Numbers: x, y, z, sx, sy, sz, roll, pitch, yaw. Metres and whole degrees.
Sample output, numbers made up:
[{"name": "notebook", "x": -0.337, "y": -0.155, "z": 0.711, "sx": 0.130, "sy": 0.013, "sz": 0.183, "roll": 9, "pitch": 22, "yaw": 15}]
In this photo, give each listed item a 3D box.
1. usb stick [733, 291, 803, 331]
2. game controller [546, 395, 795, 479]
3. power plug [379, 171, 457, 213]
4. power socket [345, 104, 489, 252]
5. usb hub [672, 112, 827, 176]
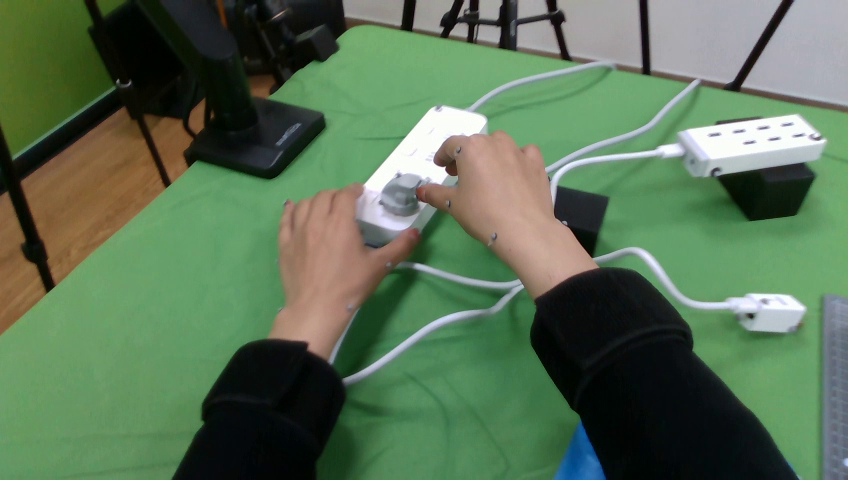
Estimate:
[{"name": "usb stick", "x": 0.282, "y": 0.058, "z": 0.488, "sx": 0.059, "sy": 0.027, "sz": 0.021, "roll": 7, "pitch": 25, "yaw": -19}, {"name": "game controller", "x": 0.160, "y": 0.159, "z": 0.384, "sx": 0.154, "sy": 0.052, "sz": 0.096, "roll": 18, "pitch": 45, "yaw": 18}, {"name": "power plug", "x": -0.009, "y": -0.033, "z": 0.556, "sx": 0.072, "sy": 0.053, "sz": 0.035, "roll": 30, "pitch": 52, "yaw": 25}, {"name": "power socket", "x": -0.001, "y": -0.073, "z": 0.629, "sx": 0.072, "sy": 0.033, "sz": 0.226, "roll": 20, "pitch": 49, "yaw": 19}, {"name": "usb hub", "x": 0.306, "y": -0.090, "z": 0.572, "sx": 0.125, "sy": 0.025, "sz": 0.049, "roll": -9, "pitch": 46, "yaw": -5}]
